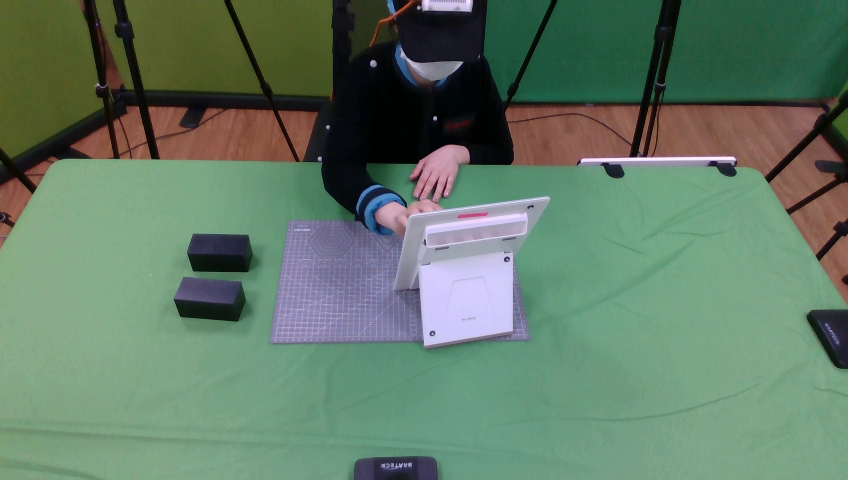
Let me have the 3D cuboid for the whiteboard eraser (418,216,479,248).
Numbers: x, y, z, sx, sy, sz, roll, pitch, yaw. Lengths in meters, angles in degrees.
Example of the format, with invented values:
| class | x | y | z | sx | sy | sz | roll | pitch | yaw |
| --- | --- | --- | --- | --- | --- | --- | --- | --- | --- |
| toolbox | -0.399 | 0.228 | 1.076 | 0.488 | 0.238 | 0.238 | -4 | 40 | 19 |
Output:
| class | x | y | z | sx | sy | sz | roll | pitch | yaw |
| --- | --- | --- | --- | --- | --- | --- | --- | --- | --- |
| whiteboard eraser | 0.038 | -0.012 | 0.957 | 0.101 | 0.041 | 0.018 | -21 | 66 | 20 |

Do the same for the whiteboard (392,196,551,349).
| class | x | y | z | sx | sy | sz | roll | pitch | yaw |
| --- | --- | --- | --- | --- | --- | --- | --- | --- | --- |
| whiteboard | 0.077 | 0.071 | 0.977 | 0.217 | 0.306 | 0.143 | -7 | 67 | -11 |
